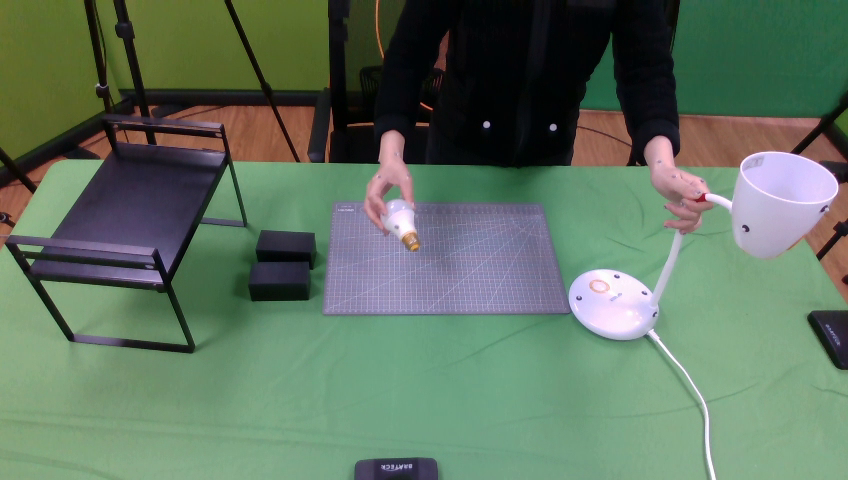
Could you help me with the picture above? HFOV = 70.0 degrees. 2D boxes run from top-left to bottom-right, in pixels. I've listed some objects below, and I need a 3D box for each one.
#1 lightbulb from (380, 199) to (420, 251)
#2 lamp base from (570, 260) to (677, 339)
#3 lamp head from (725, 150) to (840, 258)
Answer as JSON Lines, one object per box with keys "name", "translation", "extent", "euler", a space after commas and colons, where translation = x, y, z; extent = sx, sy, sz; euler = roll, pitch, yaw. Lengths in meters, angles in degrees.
{"name": "lightbulb", "translation": [-0.038, -0.024, 1.046], "extent": [0.059, 0.060, 0.107], "euler": [-17, 57, -19]}
{"name": "lamp base", "translation": [0.359, 0.067, 1.047], "extent": [0.178, 0.181, 0.160], "euler": [37, 55, 25]}
{"name": "lamp head", "translation": [0.441, -0.040, 0.773], "extent": [0.112, 0.123, 0.111], "euler": [1, 46, -1]}
